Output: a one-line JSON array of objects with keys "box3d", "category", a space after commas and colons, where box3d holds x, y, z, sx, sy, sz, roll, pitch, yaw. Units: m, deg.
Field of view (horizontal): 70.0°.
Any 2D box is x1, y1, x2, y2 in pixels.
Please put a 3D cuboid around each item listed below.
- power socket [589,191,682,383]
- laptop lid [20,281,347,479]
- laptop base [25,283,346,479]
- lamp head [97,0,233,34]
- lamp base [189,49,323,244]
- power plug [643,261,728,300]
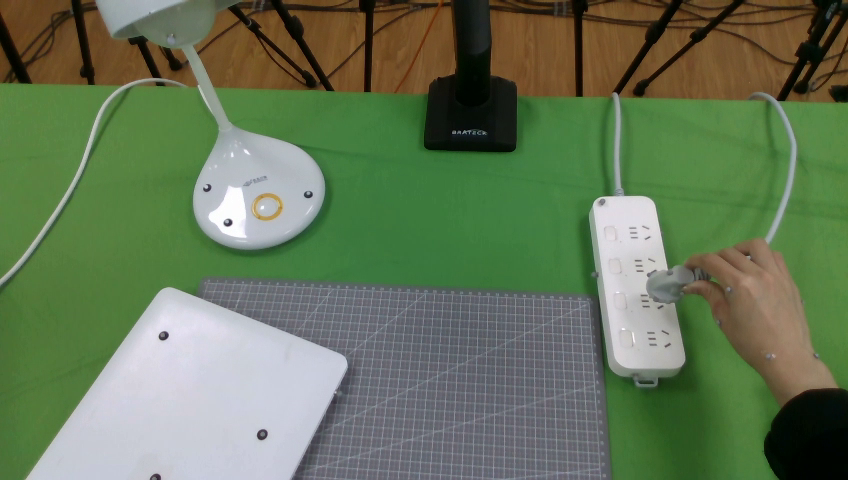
[{"box3d": [0.226, 0.041, 0.659, 0.072, 0.033, 0.224, 1, 59, 2], "category": "power socket"}, {"box3d": [-0.252, 0.221, 0.574, 0.241, 0.013, 0.355, 21, 63, 13], "category": "laptop lid"}, {"box3d": [-0.253, 0.226, 0.585, 0.235, 0.023, 0.352, 20, 63, 11], "category": "laptop base"}, {"box3d": [-0.191, -0.218, 0.423, 0.112, 0.111, 0.123, -25, 105, -11], "category": "lamp head"}, {"box3d": [-0.216, -0.113, 0.687, 0.160, 0.182, 0.177, -32, 60, -15], "category": "lamp base"}, {"box3d": [0.255, 0.044, 0.598, 0.072, 0.053, 0.035, 9, 61, 10], "category": "power plug"}]
